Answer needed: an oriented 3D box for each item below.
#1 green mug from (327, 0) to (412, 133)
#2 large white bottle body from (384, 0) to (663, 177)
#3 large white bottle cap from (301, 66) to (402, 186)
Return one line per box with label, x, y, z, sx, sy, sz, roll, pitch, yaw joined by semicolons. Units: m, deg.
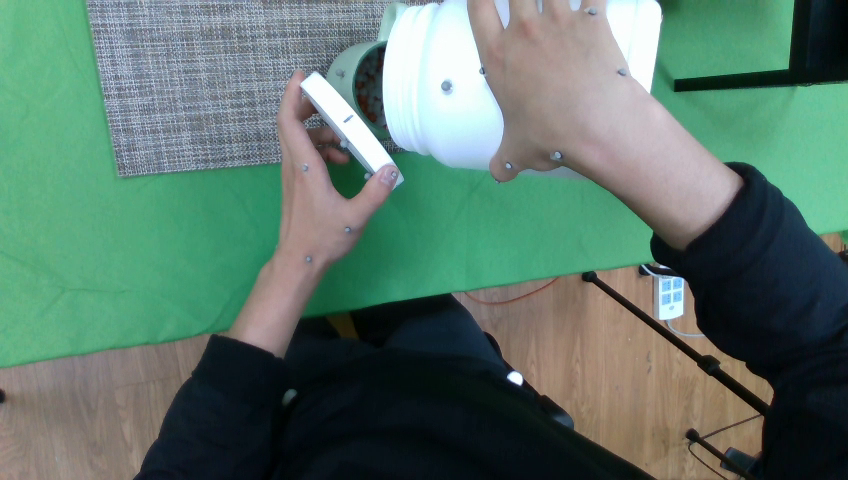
green mug;-0.037;-0.164;0.568;0.093;0.104;0.125;9;98;-21
large white bottle body;0.074;-0.120;0.457;0.184;0.131;0.131;8;101;17
large white bottle cap;-0.060;-0.094;0.509;0.018;0.114;0.115;-40;111;-1
